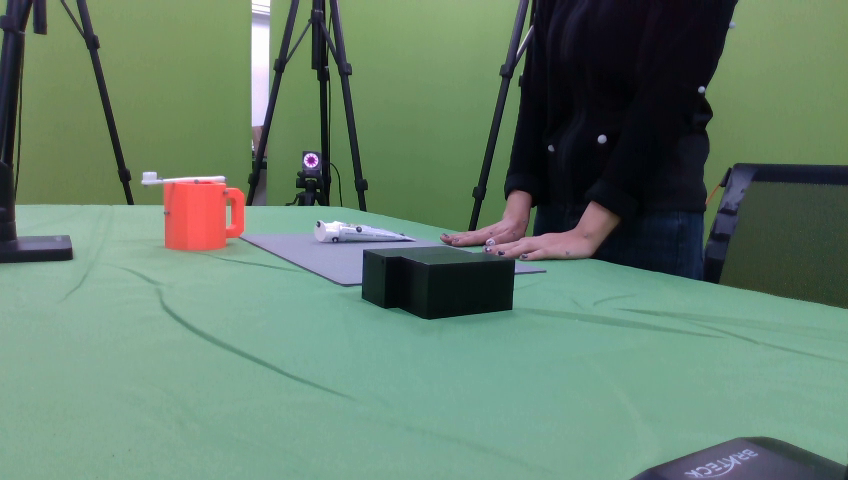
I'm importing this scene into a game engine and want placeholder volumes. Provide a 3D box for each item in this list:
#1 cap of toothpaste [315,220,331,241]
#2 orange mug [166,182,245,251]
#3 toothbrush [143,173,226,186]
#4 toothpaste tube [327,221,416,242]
[{"bbox_3d":[-0.164,-0.016,0.982,0.011,0.037,0.037,-8,12,-43],"label":"cap of toothpaste"},{"bbox_3d":[-0.326,-0.040,0.911,0.083,0.101,0.127,8,14,37],"label":"orange mug"},{"bbox_3d":[-0.342,-0.089,0.878,0.014,0.016,0.182,2,7,15],"label":"toothbrush"},{"bbox_3d":[-0.095,-0.012,1.026,0.166,0.034,0.055,2,14,-33],"label":"toothpaste tube"}]
